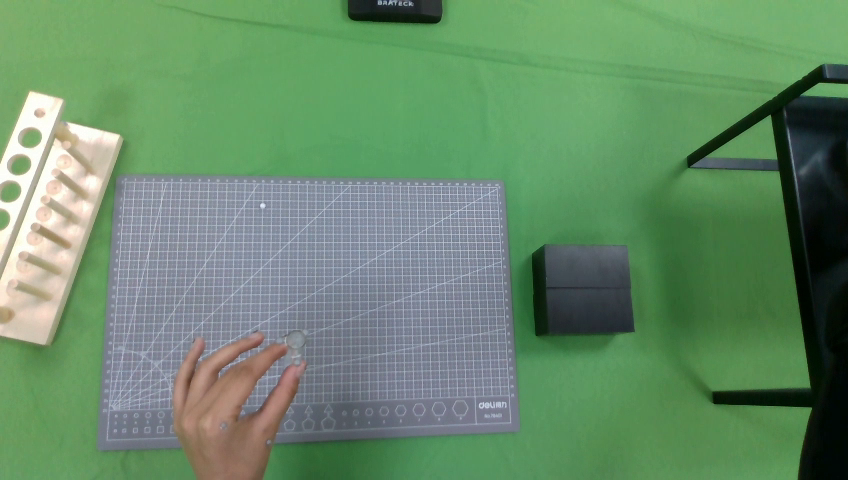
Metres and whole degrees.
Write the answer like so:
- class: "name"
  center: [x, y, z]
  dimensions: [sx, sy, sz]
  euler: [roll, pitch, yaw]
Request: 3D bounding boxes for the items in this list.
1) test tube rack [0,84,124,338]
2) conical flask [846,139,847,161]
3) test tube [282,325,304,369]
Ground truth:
- class: "test tube rack"
  center: [-0.397, -0.027, 0.626]
  dimensions: [0.067, 0.085, 0.241]
  euler: [14, 77, -5]
- class: "conical flask"
  center: [0.460, -0.095, 0.549]
  dimensions: [0.075, 0.122, 0.075]
  euler: [2, 79, -8]
- class: "test tube"
  center: [-0.115, 0.096, 0.528]
  dimensions: [0.017, 0.150, 0.017]
  euler: [4, 70, -12]
